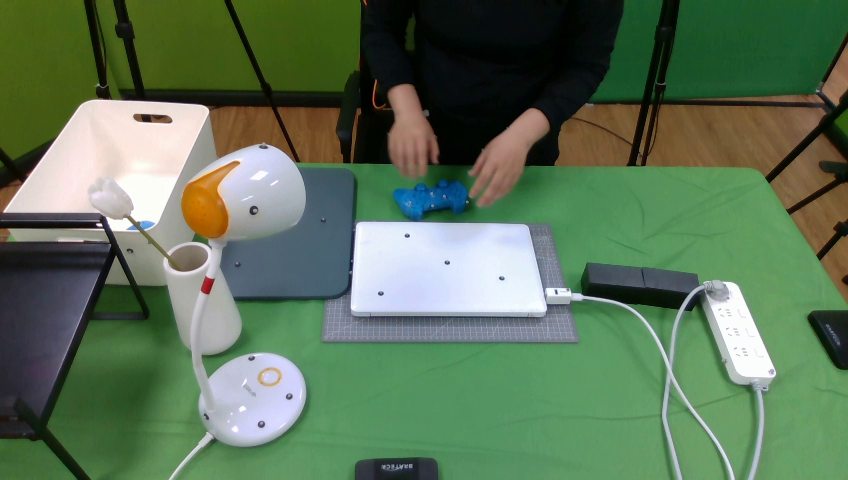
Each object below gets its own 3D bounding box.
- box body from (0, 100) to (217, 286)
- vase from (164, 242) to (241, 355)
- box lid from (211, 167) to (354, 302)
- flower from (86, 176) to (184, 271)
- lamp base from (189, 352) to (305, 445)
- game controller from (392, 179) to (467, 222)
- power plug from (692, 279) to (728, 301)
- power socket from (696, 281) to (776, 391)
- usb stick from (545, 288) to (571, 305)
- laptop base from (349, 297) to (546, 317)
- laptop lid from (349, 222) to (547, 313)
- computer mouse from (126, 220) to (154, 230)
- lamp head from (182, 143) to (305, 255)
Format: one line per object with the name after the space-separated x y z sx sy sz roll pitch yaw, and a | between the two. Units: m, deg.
-0.560 -0.092 1.145 0.254 0.161 0.361 3 46 -2 | box body
-0.349 0.096 0.954 0.098 0.201 0.097 3 47 -3 | vase
-0.277 -0.024 1.205 0.263 0.015 0.369 0 46 -4 | box lid
-0.365 0.038 0.894 0.038 0.364 0.044 -4 53 15 | flower
-0.268 0.196 0.876 0.160 0.181 0.179 26 52 20 | lamp base
0.016 -0.093 1.273 0.155 0.052 0.096 -11 52 -14 | game controller
0.522 0.092 1.115 0.072 0.053 0.035 9 46 7 | power plug
0.550 0.160 1.078 0.072 0.033 0.225 2 46 -1 | power socket
0.236 0.102 1.101 0.059 0.027 0.021 -2 46 1 | usb stick
0.041 0.055 1.149 0.355 0.023 0.234 1 42 -4 | laptop base
0.041 0.046 1.143 0.357 0.013 0.240 2 44 -3 | laptop lid
-0.537 0.008 1.127 0.062 0.041 0.117 32 56 20 | computer mouse
-0.216 -0.044 0.697 0.112 0.113 0.123 23 31 17 | lamp head
